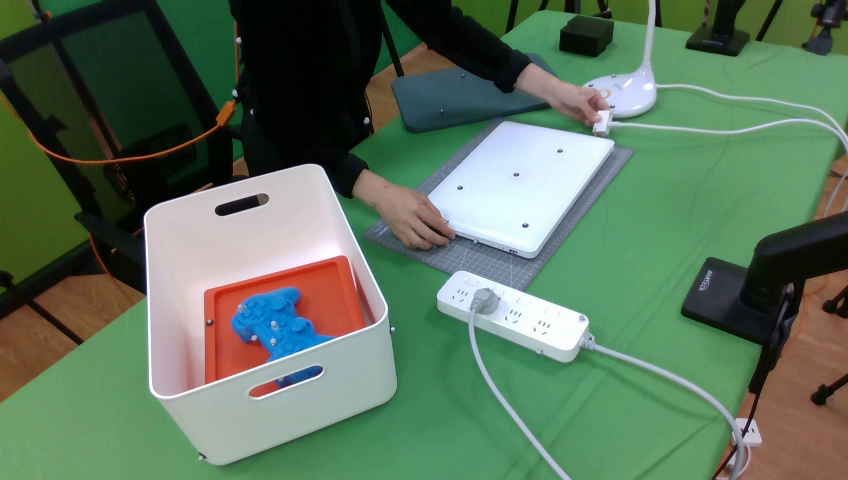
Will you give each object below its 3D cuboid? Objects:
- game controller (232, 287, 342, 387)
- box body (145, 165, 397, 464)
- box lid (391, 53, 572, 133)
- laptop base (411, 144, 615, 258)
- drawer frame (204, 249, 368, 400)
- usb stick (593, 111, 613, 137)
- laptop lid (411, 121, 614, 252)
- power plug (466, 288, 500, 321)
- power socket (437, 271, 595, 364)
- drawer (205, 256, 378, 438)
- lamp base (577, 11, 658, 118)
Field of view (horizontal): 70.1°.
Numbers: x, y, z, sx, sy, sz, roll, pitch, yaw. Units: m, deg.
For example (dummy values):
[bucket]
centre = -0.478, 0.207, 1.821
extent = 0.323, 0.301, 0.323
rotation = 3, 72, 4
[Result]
[game controller]
centre = -0.167, 0.110, 0.734
extent = 0.097, 0.052, 0.154
rotation = -35, 47, -21
[box body]
centre = -0.205, 0.080, 0.802
extent = 0.255, 0.161, 0.361
rotation = -18, 41, -13
[box lid]
centre = 0.122, -0.339, 1.366
extent = 0.372, 0.015, 0.261
rotation = -12, 40, -5
[laptop base]
centre = 0.167, -0.102, 1.075
extent = 0.234, 0.023, 0.355
rotation = 17, 45, 30
[drawer frame]
centre = -0.174, 0.129, 0.790
extent = 0.202, 0.083, 0.212
rotation = -16, 45, -8
[usb stick]
centre = 0.342, -0.217, 1.159
extent = 0.027, 0.022, 0.059
rotation = 12, 79, 39
[laptop lid]
centre = 0.164, -0.112, 1.068
extent = 0.240, 0.013, 0.357
rotation = 19, 46, 30
[power plug]
centre = 0.072, 0.093, 0.813
extent = 0.035, 0.053, 0.073
rotation = 31, 55, 35
[power socket]
centre = 0.118, 0.102, 0.830
extent = 0.225, 0.033, 0.072
rotation = 20, 48, 28
[drawer]
centre = -0.177, 0.130, 0.787
extent = 0.195, 0.073, 0.210
rotation = -14, 39, -9
[lamp base]
centre = 0.406, -0.363, 1.222
extent = 0.180, 0.181, 0.159
rotation = -20, 42, -18
